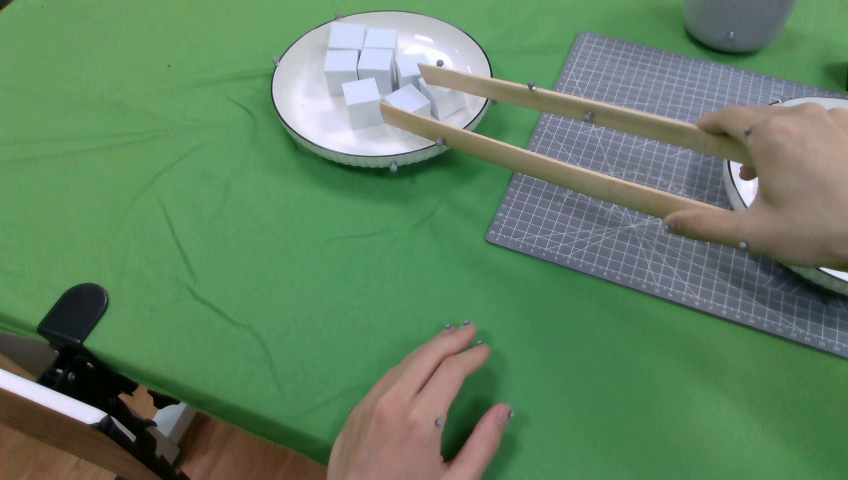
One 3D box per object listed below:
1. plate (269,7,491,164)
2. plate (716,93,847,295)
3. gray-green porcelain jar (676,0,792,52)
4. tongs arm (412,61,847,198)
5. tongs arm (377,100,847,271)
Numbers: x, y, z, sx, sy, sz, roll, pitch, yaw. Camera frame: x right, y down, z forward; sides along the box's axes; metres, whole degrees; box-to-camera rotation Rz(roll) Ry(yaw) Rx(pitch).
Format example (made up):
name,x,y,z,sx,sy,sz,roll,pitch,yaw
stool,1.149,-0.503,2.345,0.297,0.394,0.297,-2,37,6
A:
name,x,y,z,sx,sy,sz,roll,pitch,yaw
plate,-0.041,-0.147,0.583,0.208,0.039,0.205,0,55,1
plate,0.345,-0.037,0.498,0.209,0.038,0.207,0,55,1
gray-green porcelain jar,0.320,-0.265,0.607,0.106,0.127,0.105,0,54,1
tongs arm,0.136,-0.076,0.446,0.382,0.027,0.050,21,64,29
tongs arm,0.117,-0.050,0.434,0.384,0.028,0.028,22,61,30
